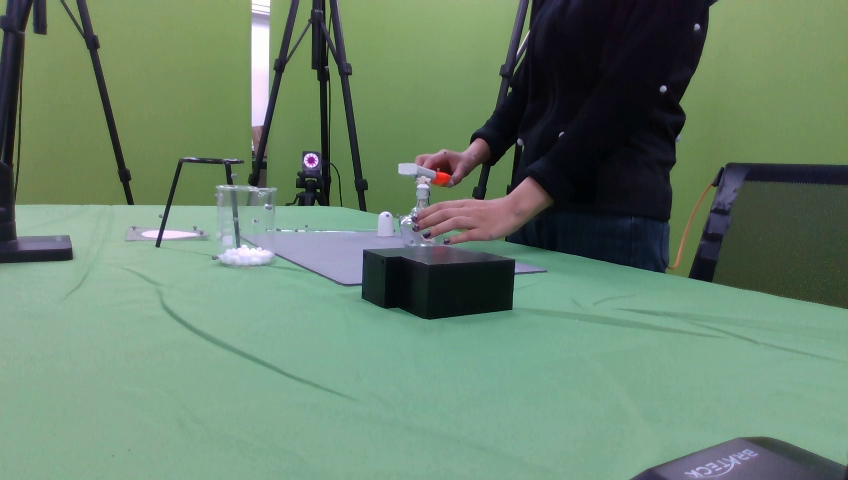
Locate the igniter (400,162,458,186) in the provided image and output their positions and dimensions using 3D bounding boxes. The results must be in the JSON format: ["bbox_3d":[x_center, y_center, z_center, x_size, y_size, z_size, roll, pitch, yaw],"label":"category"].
[{"bbox_3d":[0.014,-0.119,1.101,0.057,0.025,0.277,3,2,16],"label":"igniter"}]

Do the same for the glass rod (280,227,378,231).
[{"bbox_3d":[-0.175,-0.021,1.161,0.200,0.008,0.008,0,7,-15],"label":"glass rod"}]

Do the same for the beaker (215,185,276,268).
[{"bbox_3d":[-0.226,-0.019,0.773,0.074,0.100,0.084,5,7,14],"label":"beaker"}]

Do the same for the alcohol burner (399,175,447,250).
[{"bbox_3d":[-0.001,-0.044,0.962,0.078,0.119,0.078,0,8,0],"label":"alcohol burner"}]

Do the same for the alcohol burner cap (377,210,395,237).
[{"bbox_3d":[-0.069,-0.031,1.112,0.034,0.048,0.034,2,9,0],"label":"alcohol burner cap"}]

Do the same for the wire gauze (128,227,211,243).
[{"bbox_3d":[-0.420,-0.010,0.999,0.122,0.011,0.124,-2,10,-24],"label":"wire gauze"}]

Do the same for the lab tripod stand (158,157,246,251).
[{"bbox_3d":[-0.314,-0.055,0.891,0.148,0.131,0.148,2,9,0],"label":"lab tripod stand"}]
